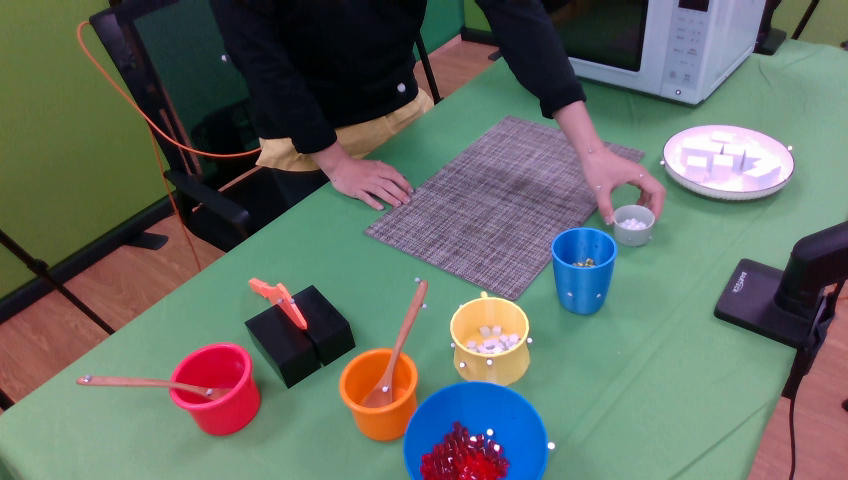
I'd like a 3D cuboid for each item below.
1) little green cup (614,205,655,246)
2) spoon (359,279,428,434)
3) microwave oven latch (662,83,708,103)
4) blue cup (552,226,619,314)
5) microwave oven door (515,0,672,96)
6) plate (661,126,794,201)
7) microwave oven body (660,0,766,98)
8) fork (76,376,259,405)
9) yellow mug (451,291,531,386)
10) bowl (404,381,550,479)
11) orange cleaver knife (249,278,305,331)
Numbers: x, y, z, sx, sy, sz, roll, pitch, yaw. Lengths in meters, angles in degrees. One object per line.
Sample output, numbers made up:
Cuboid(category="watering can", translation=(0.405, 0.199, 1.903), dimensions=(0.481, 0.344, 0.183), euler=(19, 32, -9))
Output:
Cuboid(category="little green cup", translation=(0.323, -0.021, 0.935), dimensions=(0.061, 0.039, 0.061), euler=(-4, 39, 4))
Cuboid(category="spoon", translation=(-0.032, 0.138, 0.719), dimensions=(0.041, 0.193, 0.022), euler=(22, 4, 29))
Cuboid(category="microwave oven latch", translation=(0.518, -0.297, 1.205), dimensions=(0.078, 0.029, 0.030), euler=(29, 53, 36))
Cuboid(category="blue cup", translation=(0.218, 0.047, 0.825), dimensions=(0.092, 0.101, 0.092), euler=(-6, 40, 5))
Cuboid(category="microwave oven door", translation=(0.344, -0.455, 1.259), dimensions=(0.353, 0.245, 0.039), euler=(26, 51, 33))
Cuboid(category="plate", translation=(0.513, -0.127, 1.035), dimensions=(0.207, 0.039, 0.206), euler=(-4, 40, 4))
Cuboid(category="microwave oven body", translation=(0.473, -0.513, 1.317), dimensions=(0.438, 0.261, 0.327), euler=(26, 51, 34))
Cuboid(category="fork", translation=(-0.295, 0.176, 0.716), dimensions=(0.209, 0.018, 0.028), euler=(19, 27, -36))
Cuboid(category="yellow mug", translation=(0.085, 0.120, 0.786), dimensions=(0.100, 0.064, 0.130), euler=(-7, 39, 1))
Cuboid(category="bowl", translation=(0.058, 0.235, 0.645), dimensions=(0.151, 0.077, 0.150), euler=(-4, 39, 4))
Cuboid(category="orange cleaver knife", translation=(-0.210, 0.089, 0.856), dimensions=(0.012, 0.077, 0.210), euler=(-28, 15, -25))
